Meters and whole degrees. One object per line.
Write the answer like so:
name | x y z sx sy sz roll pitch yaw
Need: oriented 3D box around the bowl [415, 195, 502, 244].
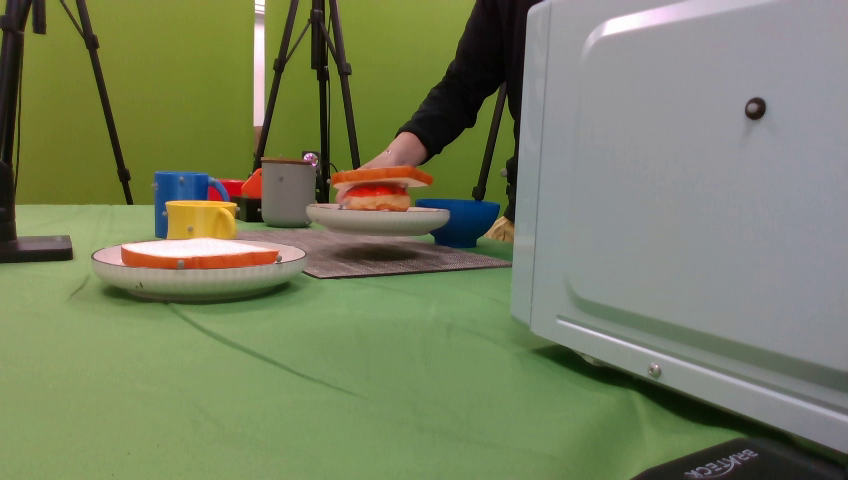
bowl | 0.059 -0.035 1.049 0.151 0.077 0.151 2 7 0

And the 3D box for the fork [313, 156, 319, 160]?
fork | -0.331 -0.144 1.506 0.207 0.018 0.028 -42 -19 22

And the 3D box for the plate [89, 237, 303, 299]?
plate | -0.233 0.029 0.637 0.208 0.039 0.207 2 7 0

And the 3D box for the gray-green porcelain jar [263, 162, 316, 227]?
gray-green porcelain jar | -0.271 -0.092 1.217 0.106 0.126 0.106 2 7 0

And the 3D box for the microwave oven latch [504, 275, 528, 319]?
microwave oven latch | 0.100 0.042 0.471 0.079 0.029 0.030 -1 7 -28

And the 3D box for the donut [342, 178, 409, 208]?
donut | -0.070 -0.062 0.881 0.099 0.048 0.099 -9 -7 -1

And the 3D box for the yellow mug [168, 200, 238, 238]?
yellow mug | -0.320 -0.023 0.904 0.130 0.064 0.100 9 10 36

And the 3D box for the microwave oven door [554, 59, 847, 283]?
microwave oven door | 0.328 -0.092 0.781 0.039 0.243 0.354 -5 10 -42

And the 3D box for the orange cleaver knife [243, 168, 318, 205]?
orange cleaver knife | -0.300 -0.089 1.351 0.212 0.077 0.012 28 -9 -34

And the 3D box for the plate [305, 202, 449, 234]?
plate | -0.068 -0.034 0.879 0.209 0.038 0.209 2 6 0

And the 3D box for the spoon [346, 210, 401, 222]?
spoon | -0.121 -0.060 1.400 0.042 0.021 0.192 -28 25 -37

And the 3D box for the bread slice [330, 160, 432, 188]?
bread slice | -0.067 -0.092 0.872 0.134 0.018 0.107 -5 -4 14

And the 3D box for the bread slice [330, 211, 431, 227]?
bread slice | -0.055 -0.031 0.877 0.131 0.019 0.105 2 6 17

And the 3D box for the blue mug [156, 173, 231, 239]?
blue mug | -0.381 -0.057 1.004 0.117 0.106 0.082 0 8 -12

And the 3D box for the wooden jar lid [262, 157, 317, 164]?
wooden jar lid | -0.269 -0.154 1.208 0.108 0.020 0.108 3 5 0

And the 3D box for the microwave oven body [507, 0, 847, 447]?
microwave oven body | 0.331 -0.042 0.426 0.444 0.260 0.324 -2 8 -31
